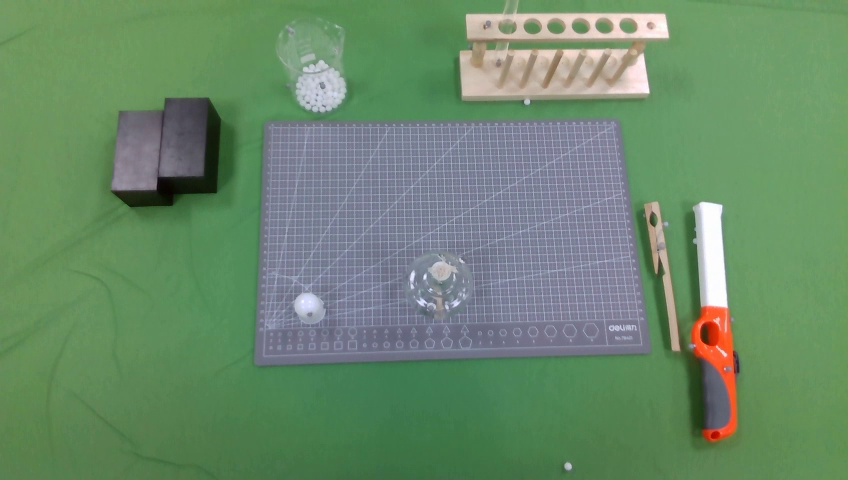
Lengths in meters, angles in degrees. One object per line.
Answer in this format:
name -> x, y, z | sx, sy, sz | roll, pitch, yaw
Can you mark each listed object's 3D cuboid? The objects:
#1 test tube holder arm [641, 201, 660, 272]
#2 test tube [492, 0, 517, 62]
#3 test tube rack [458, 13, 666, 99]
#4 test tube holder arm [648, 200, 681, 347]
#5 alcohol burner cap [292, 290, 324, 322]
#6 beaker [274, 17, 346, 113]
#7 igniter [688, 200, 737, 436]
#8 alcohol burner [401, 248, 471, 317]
test tube holder arm -> 0.276, -0.004, 0.734 | 0.010, 0.015, 0.087 | -14, 73, 29
test tube -> 0.096, -0.260, 0.710 | 0.017, 0.151, 0.017 | 1, 69, -2
test tube rack -> 0.167, -0.228, 0.757 | 0.242, 0.085, 0.066 | -1, 73, -3
test tube holder arm -> 0.285, 0.038, 0.719 | 0.013, 0.015, 0.177 | -14, 72, 29
alcohol burner cap -> -0.130, 0.071, 0.673 | 0.034, 0.048, 0.033 | 1, 74, -3
beaker -> -0.130, -0.207, 0.727 | 0.084, 0.100, 0.073 | -35, 78, -13
igniter -> 0.333, 0.086, 0.705 | 0.057, 0.025, 0.275 | 8, 73, -11
alcohol burner -> 0.014, 0.041, 0.653 | 0.078, 0.119, 0.077 | 1, 72, -3
